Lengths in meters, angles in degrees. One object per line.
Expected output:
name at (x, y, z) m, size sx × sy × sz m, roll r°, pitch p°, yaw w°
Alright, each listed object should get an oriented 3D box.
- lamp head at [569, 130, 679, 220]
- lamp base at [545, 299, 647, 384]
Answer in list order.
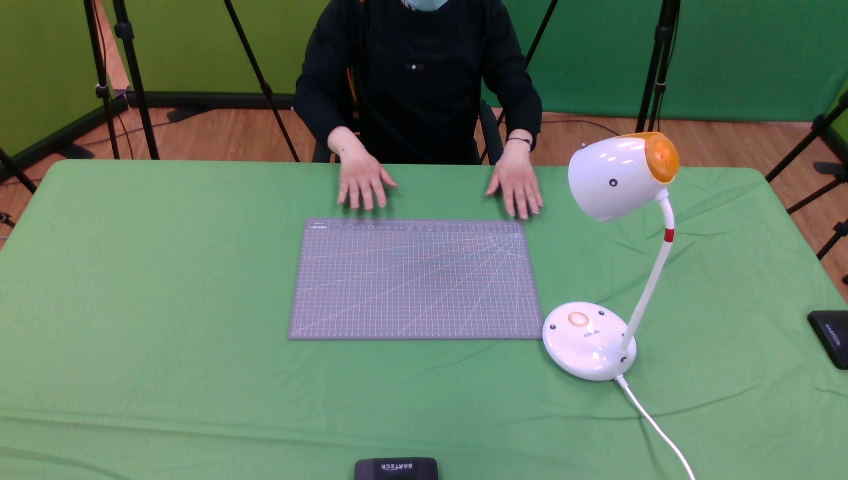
lamp head at (0.272, -0.090, 0.798) m, size 0.113 × 0.122 × 0.112 m, roll 7°, pitch 78°, yaw -33°
lamp base at (0.299, 0.124, 0.984) m, size 0.161 × 0.181 × 0.178 m, roll -23°, pitch 55°, yaw -23°
